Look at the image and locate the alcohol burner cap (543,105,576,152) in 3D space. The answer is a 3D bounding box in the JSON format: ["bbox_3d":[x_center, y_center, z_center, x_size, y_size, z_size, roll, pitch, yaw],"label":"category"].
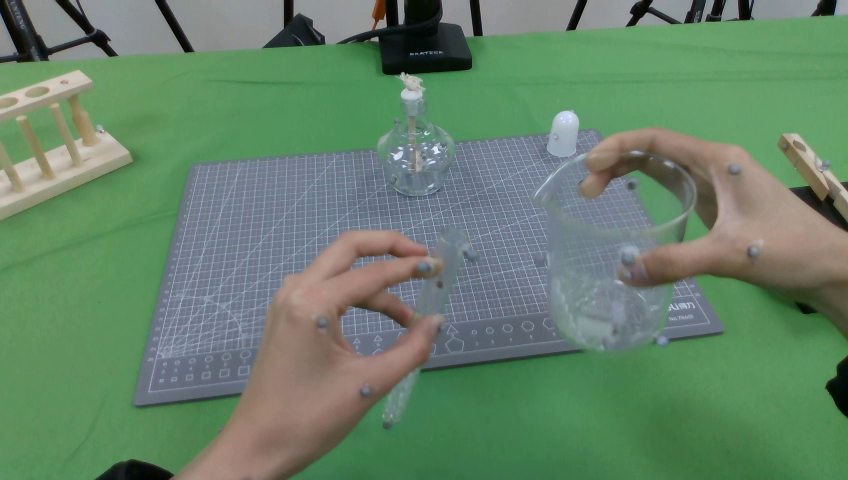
[{"bbox_3d":[0.146,-0.122,0.648,0.034,0.048,0.033,0,43,0],"label":"alcohol burner cap"}]

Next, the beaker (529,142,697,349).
[{"bbox_3d":[0.102,0.007,0.343,0.084,0.101,0.073,2,43,13],"label":"beaker"}]

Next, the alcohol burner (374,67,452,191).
[{"bbox_3d":[-0.012,-0.108,0.582,0.078,0.120,0.077,-1,42,2],"label":"alcohol burner"}]

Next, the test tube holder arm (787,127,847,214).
[{"bbox_3d":[0.351,-0.042,0.514,0.013,0.015,0.176,-9,43,3],"label":"test tube holder arm"}]

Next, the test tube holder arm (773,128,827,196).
[{"bbox_3d":[0.342,-0.072,0.547,0.010,0.015,0.087,-9,43,3],"label":"test tube holder arm"}]

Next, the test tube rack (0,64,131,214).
[{"bbox_3d":[-0.423,-0.077,0.577,0.242,0.086,0.066,-35,53,-31],"label":"test tube rack"}]

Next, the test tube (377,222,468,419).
[{"bbox_3d":[-0.004,0.052,0.341,0.017,0.151,0.017,12,36,-9],"label":"test tube"}]
